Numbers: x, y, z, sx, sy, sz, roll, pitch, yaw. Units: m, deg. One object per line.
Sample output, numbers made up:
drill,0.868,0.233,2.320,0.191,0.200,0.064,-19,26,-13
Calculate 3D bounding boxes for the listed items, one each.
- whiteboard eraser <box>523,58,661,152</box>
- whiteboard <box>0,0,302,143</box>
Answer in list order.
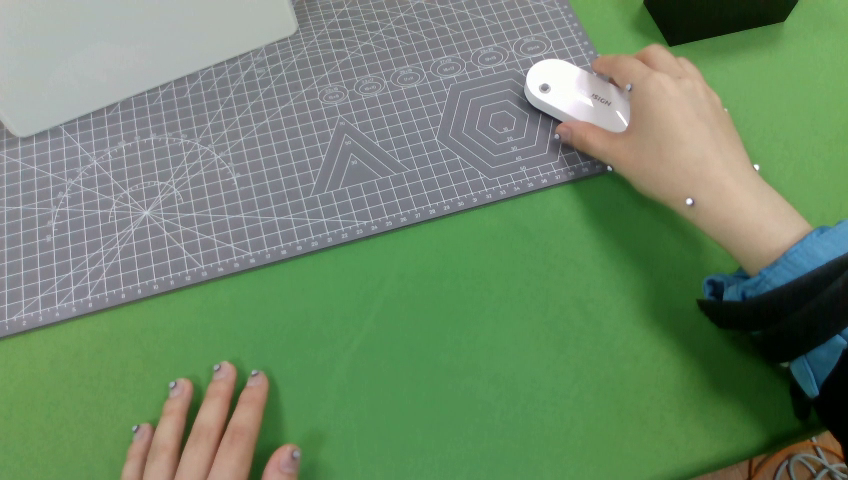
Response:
whiteboard eraser,0.118,-0.096,0.427,0.101,0.019,0.041,32,70,16
whiteboard,-0.242,-0.259,0.382,0.217,0.308,0.142,-25,47,-11
